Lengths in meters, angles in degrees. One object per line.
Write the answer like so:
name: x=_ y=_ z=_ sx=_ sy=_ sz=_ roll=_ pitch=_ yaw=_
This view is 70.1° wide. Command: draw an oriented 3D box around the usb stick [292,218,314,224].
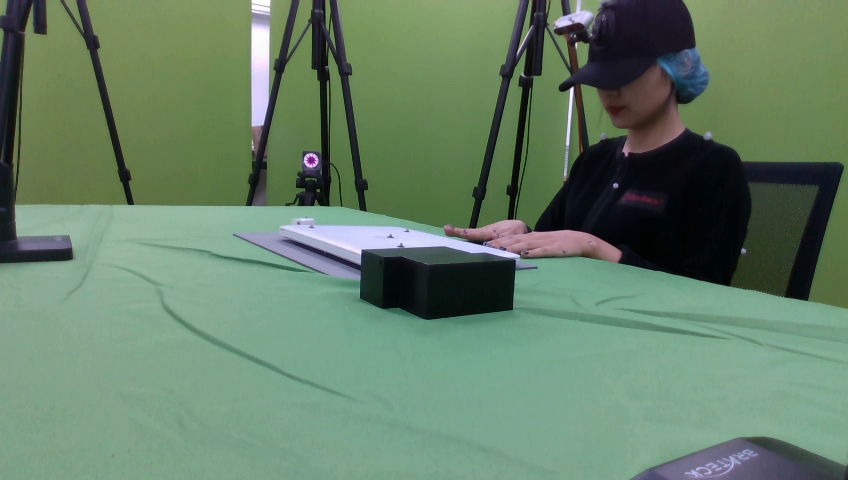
usb stick: x=-0.222 y=-0.026 z=1.091 sx=0.021 sy=0.027 sz=0.059 roll=5 pitch=10 yaw=21

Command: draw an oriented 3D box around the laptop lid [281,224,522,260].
laptop lid: x=-0.050 y=-0.002 z=0.911 sx=0.243 sy=0.013 sz=0.355 roll=1 pitch=7 yaw=-31

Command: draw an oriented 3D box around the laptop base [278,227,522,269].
laptop base: x=-0.053 y=0.010 z=0.911 sx=0.237 sy=0.023 sz=0.352 roll=2 pitch=6 yaw=-32
